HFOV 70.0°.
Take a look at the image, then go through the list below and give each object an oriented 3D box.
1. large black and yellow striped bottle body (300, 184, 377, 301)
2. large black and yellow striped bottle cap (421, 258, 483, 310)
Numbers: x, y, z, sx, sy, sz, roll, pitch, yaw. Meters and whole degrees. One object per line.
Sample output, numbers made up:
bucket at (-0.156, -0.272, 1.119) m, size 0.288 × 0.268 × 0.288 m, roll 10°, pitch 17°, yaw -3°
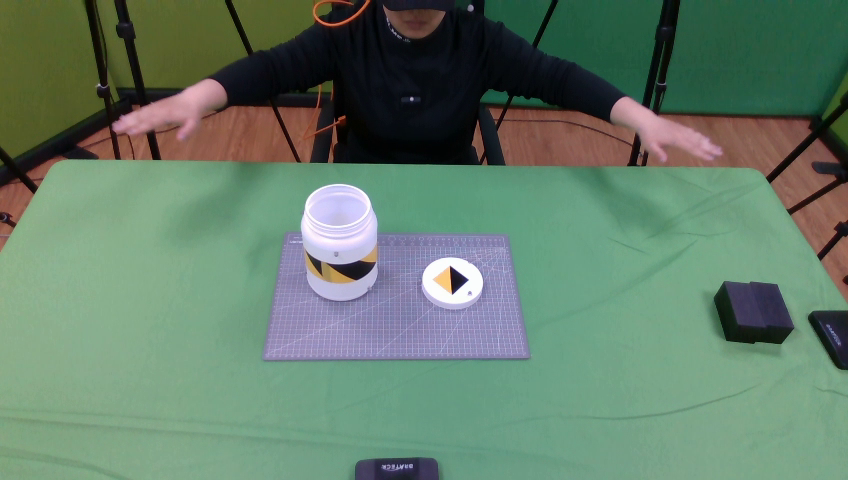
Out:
large black and yellow striped bottle body at (-0.148, 0.004, 1.067) m, size 0.131 × 0.185 × 0.130 m, roll 2°, pitch 46°, yaw -2°
large black and yellow striped bottle cap at (0.053, 0.080, 1.126) m, size 0.115 × 0.019 × 0.114 m, roll 2°, pitch 45°, yaw -1°
